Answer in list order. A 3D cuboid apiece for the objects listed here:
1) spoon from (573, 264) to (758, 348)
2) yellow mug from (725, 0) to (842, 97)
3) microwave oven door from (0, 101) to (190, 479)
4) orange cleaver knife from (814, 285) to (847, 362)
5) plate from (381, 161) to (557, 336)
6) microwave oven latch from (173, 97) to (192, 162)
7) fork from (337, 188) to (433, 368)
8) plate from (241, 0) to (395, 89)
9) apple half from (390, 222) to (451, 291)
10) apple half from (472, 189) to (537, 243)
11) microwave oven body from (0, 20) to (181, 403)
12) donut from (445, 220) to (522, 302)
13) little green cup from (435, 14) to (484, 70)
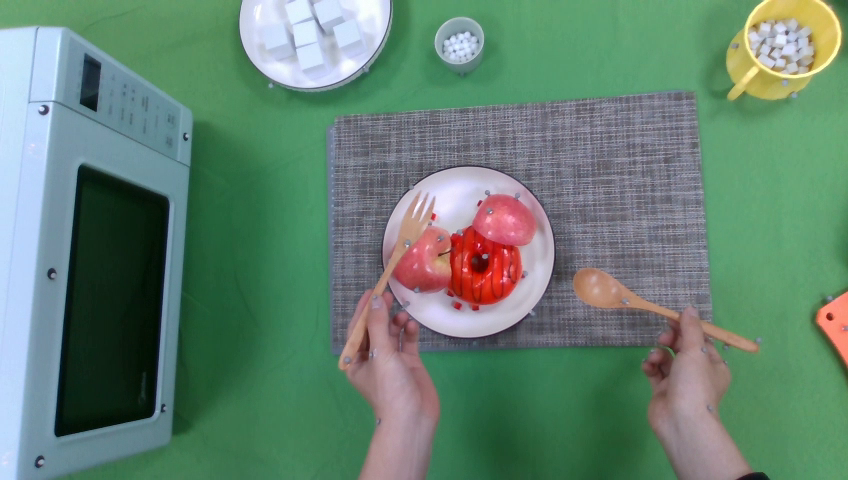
[{"bbox_3d":[0.248,0.072,0.628,0.193,0.022,0.041,21,72,15],"label":"spoon"},{"bbox_3d":[0.394,-0.213,0.689,0.131,0.064,0.099,-45,78,2],"label":"yellow mug"},{"bbox_3d":[-0.346,0.059,0.666,0.039,0.245,0.354,-1,82,10],"label":"microwave oven door"},{"bbox_3d":[0.491,0.147,0.649,0.077,0.012,0.210,-17,79,2],"label":"orange cleaver knife"},{"bbox_3d":[0.053,0.010,0.726,0.209,0.038,0.208,-1,82,9],"label":"plate"},{"bbox_3d":[-0.323,-0.144,0.793,0.030,0.029,0.079,1,83,9],"label":"microwave oven latch"},{"bbox_3d":[-0.039,0.034,0.613,0.028,0.019,0.206,25,66,2],"label":"fork"},{"bbox_3d":[-0.137,-0.295,0.802,0.207,0.039,0.207,-1,82,9],"label":"plate"},{"bbox_3d":[-0.009,0.018,0.704,0.074,0.054,0.080,-7,77,50],"label":"apple half"},{"bbox_3d":[0.098,-0.034,0.698,0.081,0.033,0.080,6,45,-6],"label":"apple half"},{"bbox_3d":[-0.489,0.018,0.700,0.325,0.261,0.440,0,83,9],"label":"microwave oven body"},{"bbox_3d":[0.066,0.024,0.711,0.099,0.048,0.099,-1,86,11],"label":"donut"},{"bbox_3d":[0.047,-0.247,0.765,0.061,0.039,0.061,-1,82,10],"label":"little green cup"}]
